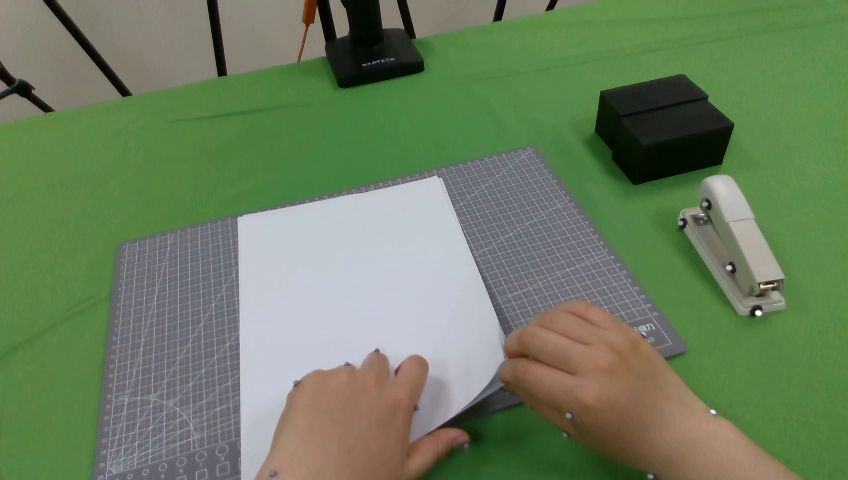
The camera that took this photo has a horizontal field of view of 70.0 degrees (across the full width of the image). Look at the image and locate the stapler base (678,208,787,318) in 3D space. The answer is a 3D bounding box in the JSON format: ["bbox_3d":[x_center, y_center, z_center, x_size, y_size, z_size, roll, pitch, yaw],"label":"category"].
[{"bbox_3d":[0.269,0.010,0.533,0.041,0.025,0.129,-11,46,-1],"label":"stapler base"}]

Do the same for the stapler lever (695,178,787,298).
[{"bbox_3d":[0.267,-0.006,0.514,0.027,0.040,0.117,-11,46,-1],"label":"stapler lever"}]
